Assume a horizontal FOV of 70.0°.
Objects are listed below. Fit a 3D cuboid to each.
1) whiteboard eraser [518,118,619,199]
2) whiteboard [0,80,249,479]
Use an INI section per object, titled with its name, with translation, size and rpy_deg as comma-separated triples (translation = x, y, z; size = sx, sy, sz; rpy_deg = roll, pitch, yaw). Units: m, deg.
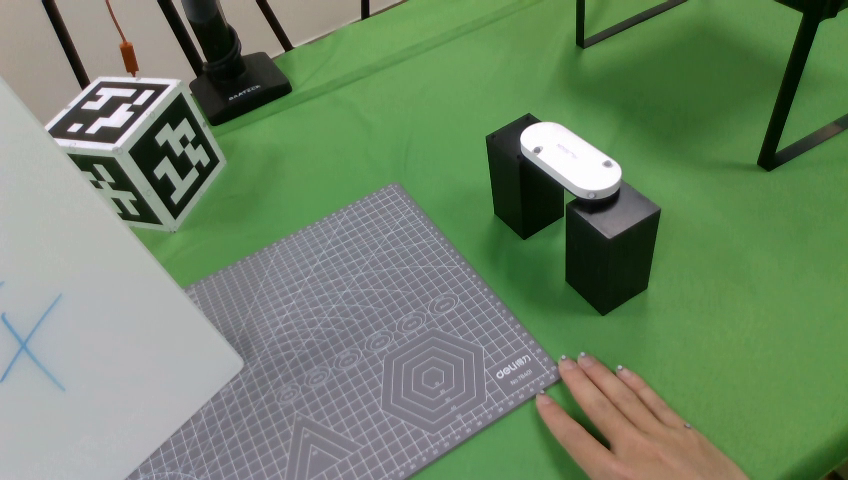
[whiteboard eraser]
translation = 0.117, -0.069, 0.498
size = 0.041, 0.019, 0.100
rpy_deg = -30, 50, -16
[whiteboard]
translation = -0.330, 0.056, 0.468
size = 0.142, 0.308, 0.217
rpy_deg = 14, 52, 48
